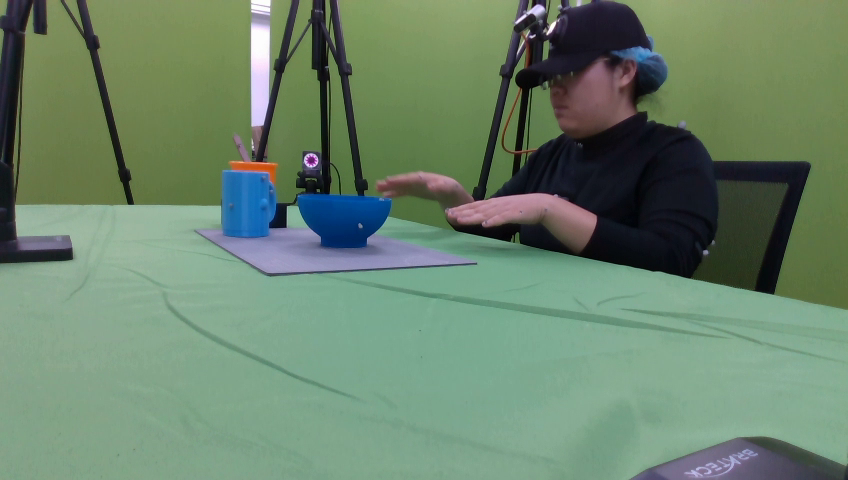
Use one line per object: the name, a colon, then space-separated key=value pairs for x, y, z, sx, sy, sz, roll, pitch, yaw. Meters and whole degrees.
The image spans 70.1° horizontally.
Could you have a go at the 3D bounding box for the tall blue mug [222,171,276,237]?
tall blue mug: x=-0.303 y=-0.065 z=1.043 sx=0.078 sy=0.108 sz=0.107 roll=1 pitch=7 yaw=-4

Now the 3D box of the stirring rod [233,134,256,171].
stirring rod: x=-0.346 y=-0.148 z=1.198 sx=0.014 sy=0.006 sz=0.175 roll=-6 pitch=53 yaw=-39

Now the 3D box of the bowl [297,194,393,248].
bowl: x=-0.127 y=-0.031 z=0.964 sx=0.151 sy=0.077 sz=0.151 roll=2 pitch=7 yaw=0
